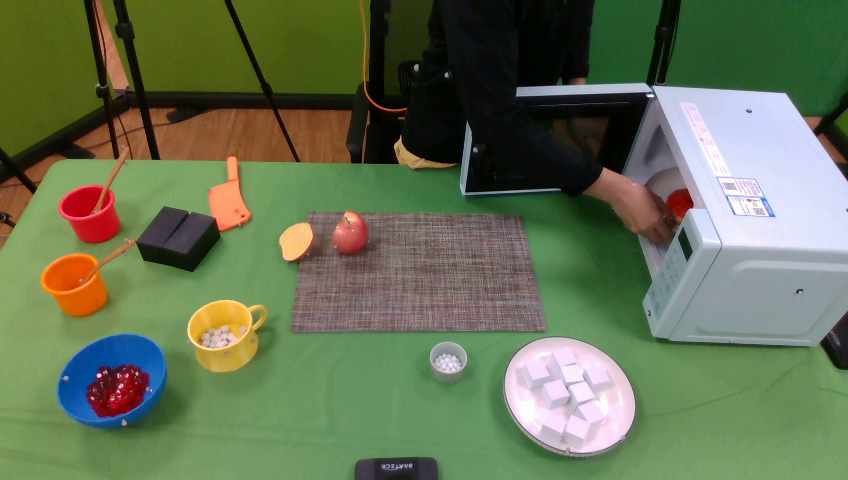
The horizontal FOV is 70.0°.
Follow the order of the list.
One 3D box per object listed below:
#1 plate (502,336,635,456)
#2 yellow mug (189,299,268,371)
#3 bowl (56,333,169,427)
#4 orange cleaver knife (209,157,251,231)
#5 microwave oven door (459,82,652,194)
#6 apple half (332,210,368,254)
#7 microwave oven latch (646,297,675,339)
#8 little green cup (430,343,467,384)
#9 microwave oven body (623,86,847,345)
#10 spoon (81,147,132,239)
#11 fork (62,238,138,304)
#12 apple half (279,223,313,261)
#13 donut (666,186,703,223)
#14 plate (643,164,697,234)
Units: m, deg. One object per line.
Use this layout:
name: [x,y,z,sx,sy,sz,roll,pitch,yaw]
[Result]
plate: [0.225,0.248,0.964,0.208,0.039,0.206,2,46,-2]
yellow mug: [-0.316,0.148,1.002,0.131,0.064,0.099,-33,56,-31]
bowl: [-0.456,0.223,0.911,0.151,0.077,0.150,3,46,-2]
orange cleaver knife: [-0.409,-0.099,1.266,0.077,0.012,0.210,-14,50,-9]
microwave oven door: [0.259,-0.204,1.236,0.356,0.245,0.039,-4,46,-7]
apple half: [-0.136,-0.010,1.158,0.053,0.075,0.080,17,43,8]
microwave oven latch: [0.412,0.134,1.061,0.030,0.029,0.078,4,45,1]
little green cup: [0.039,0.203,0.993,0.061,0.039,0.061,2,46,-2]
microwave oven body: [0.567,-0.053,1.118,0.326,0.261,0.439,2,45,-1]
spoon: [-0.603,-0.089,1.156,0.041,0.022,0.193,28,95,21]
fork: [-0.547,0.053,1.019,0.207,0.019,0.028,-36,41,23]
apple half: [-0.237,0.007,1.157,0.081,0.033,0.081,-13,60,23]
donut: [0.517,-0.066,1.164,0.099,0.048,0.098,-2,43,2]
plate: [0.533,-0.068,1.180,0.209,0.038,0.208,-2,46,2]
